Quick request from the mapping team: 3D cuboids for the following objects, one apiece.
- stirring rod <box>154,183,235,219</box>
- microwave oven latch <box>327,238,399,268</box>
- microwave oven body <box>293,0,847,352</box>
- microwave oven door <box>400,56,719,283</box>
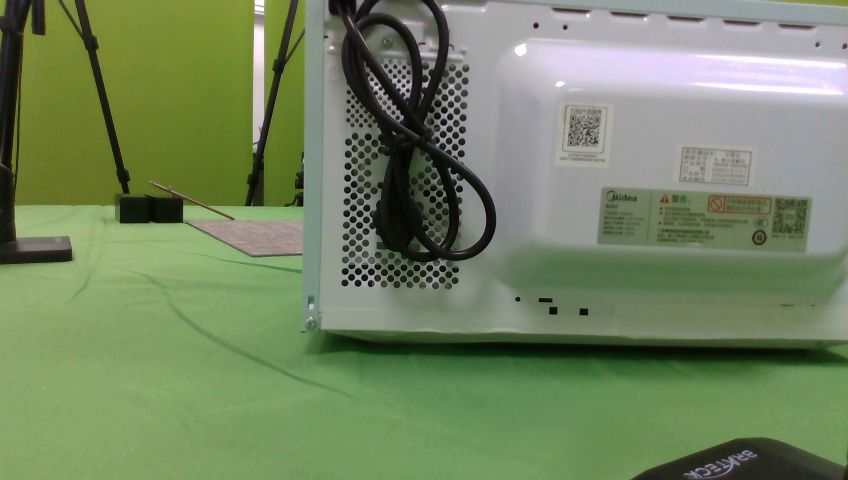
[{"bbox_3d":[-0.472,-0.079,1.252,0.177,0.006,0.014,27,4,-35],"label":"stirring rod"},{"bbox_3d":[-0.069,0.015,0.694,0.079,0.029,0.030,3,7,-3],"label":"microwave oven latch"},{"bbox_3d":[0.122,-0.055,0.550,0.442,0.260,0.325,3,7,-5],"label":"microwave oven body"},{"bbox_3d":[0.155,-0.077,0.697,0.356,0.243,0.039,2,8,-5],"label":"microwave oven door"}]
